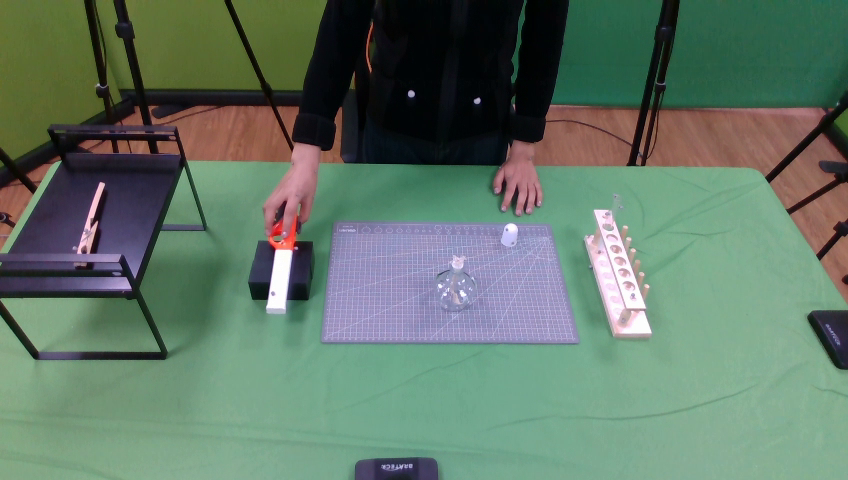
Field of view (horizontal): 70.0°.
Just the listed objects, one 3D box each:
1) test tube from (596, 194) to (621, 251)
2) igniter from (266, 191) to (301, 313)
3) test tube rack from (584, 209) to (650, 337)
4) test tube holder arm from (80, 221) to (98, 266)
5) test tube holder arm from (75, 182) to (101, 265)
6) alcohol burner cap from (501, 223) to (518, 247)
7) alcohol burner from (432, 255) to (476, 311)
[{"bbox_3d":[0.346,-0.029,1.141,0.017,0.151,0.017,0,50,0],"label":"test tube"},{"bbox_3d":[-0.255,0.012,1.093,0.057,0.025,0.274,1,50,-7],"label":"igniter"},{"bbox_3d":[0.365,0.056,1.129,0.067,0.085,0.240,1,46,-3],"label":"test tube rack"},{"bbox_3d":[-0.503,0.004,0.910,0.010,0.015,0.087,26,32,-36],"label":"test tube holder arm"},{"bbox_3d":[-0.518,-0.030,0.937,0.013,0.015,0.177,24,33,-37],"label":"test tube holder arm"},{"bbox_3d":[0.172,-0.013,1.207,0.034,0.048,0.033,1,45,-1],"label":"alcohol burner cap"},{"bbox_3d":[0.055,0.070,1.068,0.078,0.119,0.077,3,45,-3],"label":"alcohol burner"}]
